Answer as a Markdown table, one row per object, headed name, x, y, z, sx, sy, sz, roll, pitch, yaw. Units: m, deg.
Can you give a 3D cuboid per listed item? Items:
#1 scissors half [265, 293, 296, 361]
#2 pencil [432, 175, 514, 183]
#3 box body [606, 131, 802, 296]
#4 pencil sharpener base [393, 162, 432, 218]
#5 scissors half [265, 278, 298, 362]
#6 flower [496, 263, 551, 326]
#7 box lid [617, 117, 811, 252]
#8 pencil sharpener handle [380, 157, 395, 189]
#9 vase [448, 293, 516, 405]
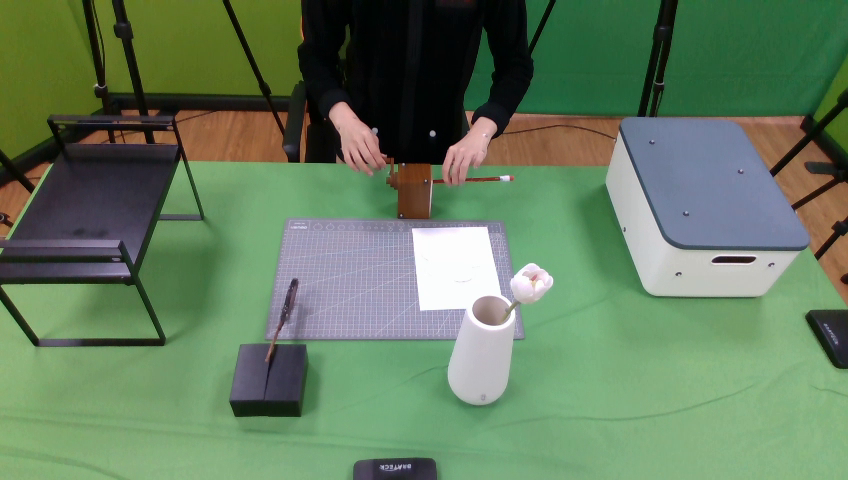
| name | x | y | z | sx | sy | sz | roll | pitch | yaw |
| --- | --- | --- | --- | --- | --- | --- | --- | --- | --- |
| scissors half | -0.239 | 0.143 | 1.004 | 0.013 | 0.040 | 0.174 | 17 | 28 | -6 |
| pencil | 0.086 | -0.122 | 1.222 | 0.194 | 0.012 | 0.012 | -3 | 47 | -3 |
| box body | 0.530 | -0.067 | 1.204 | 0.254 | 0.161 | 0.361 | 0 | 46 | -4 |
| pencil sharpener base | -0.025 | -0.100 | 1.233 | 0.077 | 0.107 | 0.061 | 1 | 47 | -3 |
| scissors half | -0.234 | 0.127 | 0.993 | 0.013 | 0.040 | 0.174 | 12 | 46 | -3 |
| flower | 0.102 | 0.120 | 0.853 | 0.044 | 0.363 | 0.038 | -2 | 64 | -10 |
| box lid | 0.534 | -0.117 | 1.148 | 0.263 | 0.015 | 0.369 | 0 | 47 | -3 |
| pencil sharpener handle | -0.074 | -0.135 | 1.215 | 0.030 | 0.036 | 0.067 | 1 | 75 | -2 |
| vase | 0.091 | 0.169 | 0.921 | 0.098 | 0.201 | 0.097 | 3 | 47 | -3 |
